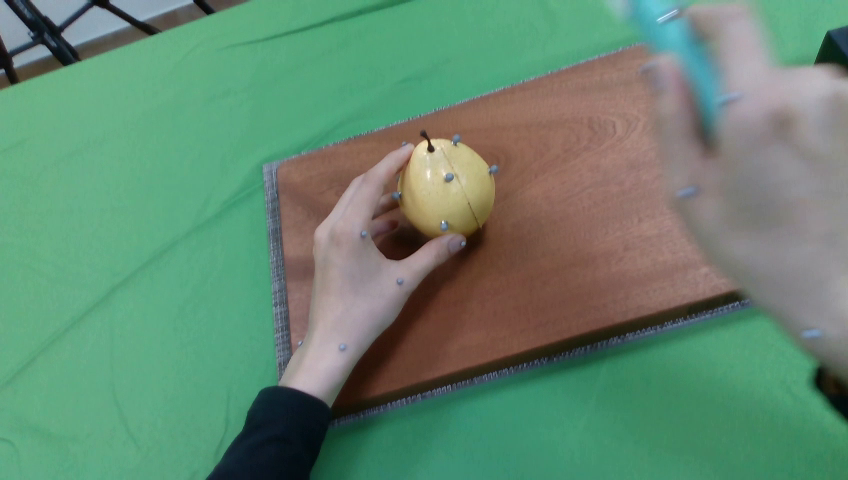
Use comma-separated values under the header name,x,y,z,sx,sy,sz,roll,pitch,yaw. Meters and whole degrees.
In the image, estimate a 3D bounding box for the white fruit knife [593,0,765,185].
name,x,y,z,sx,sy,sz,roll,pitch,yaw
white fruit knife,0.096,-0.114,0.295,0.016,0.027,0.206,-31,77,-10

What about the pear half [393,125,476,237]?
name,x,y,z,sx,sy,sz,roll,pitch,yaw
pear half,0.000,-0.046,0.475,0.056,0.111,0.075,-28,50,-3

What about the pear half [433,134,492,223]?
name,x,y,z,sx,sy,sz,roll,pitch,yaw
pear half,0.035,-0.055,0.484,0.031,0.089,0.069,-28,47,-3
